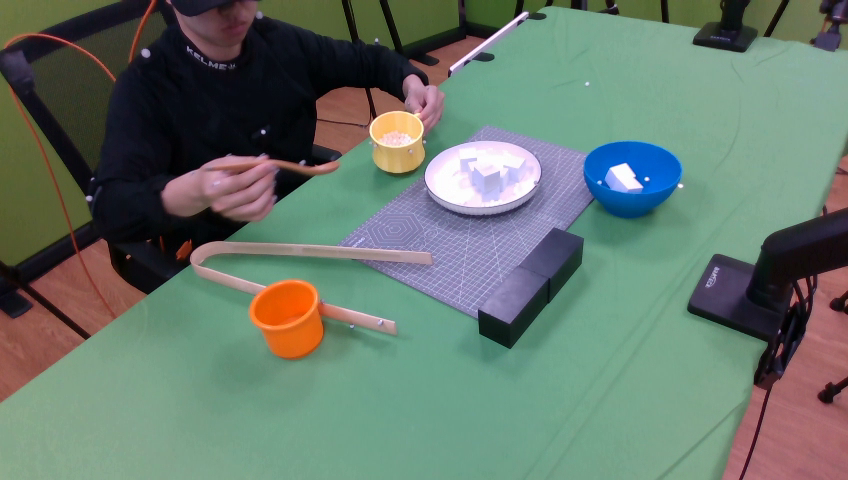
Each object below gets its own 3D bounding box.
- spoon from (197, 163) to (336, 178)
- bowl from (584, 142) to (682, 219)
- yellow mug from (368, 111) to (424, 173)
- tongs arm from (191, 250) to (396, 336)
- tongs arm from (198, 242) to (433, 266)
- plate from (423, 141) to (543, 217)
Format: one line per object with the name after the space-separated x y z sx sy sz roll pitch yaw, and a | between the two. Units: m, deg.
-0.207 -0.095 0.818 0.195 0.021 0.041 -2 12 -37 | spoon
0.333 -0.087 0.980 0.151 0.077 0.150 -4 40 3 | bowl
-0.041 -0.192 1.125 0.099 0.064 0.131 30 58 22 | yellow mug
-0.204 0.074 0.902 0.382 0.026 0.051 11 44 22 | tongs arm
-0.176 0.025 0.960 0.386 0.028 0.028 2 45 12 | tongs arm
0.103 -0.103 1.059 0.207 0.039 0.206 -4 40 4 | plate
